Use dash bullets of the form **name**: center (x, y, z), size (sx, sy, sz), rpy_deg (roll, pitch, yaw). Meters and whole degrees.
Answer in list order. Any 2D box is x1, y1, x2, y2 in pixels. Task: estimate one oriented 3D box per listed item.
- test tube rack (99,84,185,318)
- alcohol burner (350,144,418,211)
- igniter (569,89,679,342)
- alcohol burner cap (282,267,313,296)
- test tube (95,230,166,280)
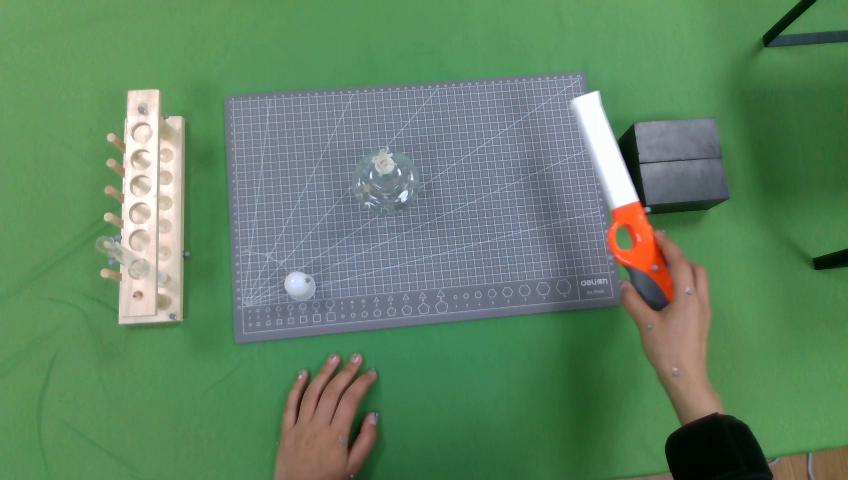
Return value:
- **test tube rack**: center (-0.312, -0.039, 0.665), size (0.067, 0.085, 0.241), rpy_deg (-3, 80, -4)
- **alcohol burner**: center (-0.045, -0.074, 0.671), size (0.078, 0.119, 0.077), rpy_deg (0, 80, -2)
- **igniter**: center (0.214, -0.028, 0.648), size (0.057, 0.025, 0.275), rpy_deg (-17, 84, -2)
- **alcohol burner cap**: center (-0.144, 0.045, 0.678), size (0.034, 0.048, 0.033), rpy_deg (1, 79, -4)
- **test tube**: center (-0.289, 0.018, 0.605), size (0.017, 0.151, 0.017), rpy_deg (1, 74, -4)
